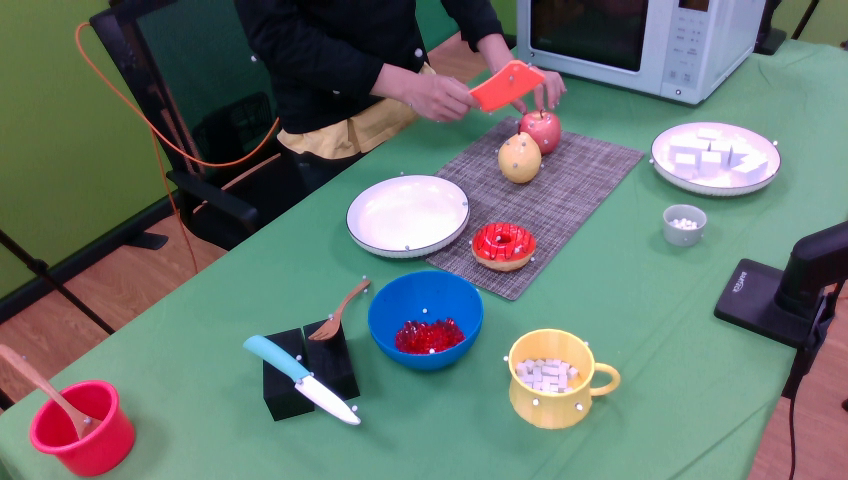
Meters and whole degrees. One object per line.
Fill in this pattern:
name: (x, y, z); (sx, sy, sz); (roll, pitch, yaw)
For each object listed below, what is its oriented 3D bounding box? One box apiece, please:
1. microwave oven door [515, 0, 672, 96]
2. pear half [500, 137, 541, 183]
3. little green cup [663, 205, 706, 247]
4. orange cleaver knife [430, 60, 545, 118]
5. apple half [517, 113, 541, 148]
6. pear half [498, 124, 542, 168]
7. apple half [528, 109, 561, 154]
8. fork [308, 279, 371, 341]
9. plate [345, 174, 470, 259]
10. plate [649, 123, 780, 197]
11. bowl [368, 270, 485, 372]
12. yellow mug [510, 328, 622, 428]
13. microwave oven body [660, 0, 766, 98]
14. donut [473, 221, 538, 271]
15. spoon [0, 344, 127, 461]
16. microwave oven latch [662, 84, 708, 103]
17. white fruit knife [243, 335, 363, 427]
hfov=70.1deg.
microwave oven door: (0.343, -0.455, 1.259); (0.353, 0.245, 0.039); (26, 51, 33)
pear half: (0.169, -0.133, 1.048); (0.070, 0.088, 0.031); (-3, 40, -1)
little green cup: (0.396, -0.021, 0.926); (0.061, 0.039, 0.061); (-4, 40, 4)
orange cleaver knife: (0.104, -0.244, 1.028); (0.210, 0.078, 0.012); (-19, 52, 39)
apple half: (0.191, -0.194, 1.127); (0.033, 0.081, 0.080); (-10, 40, -8)
pear half: (0.169, -0.163, 1.068); (0.076, 0.110, 0.055); (-3, 41, 0)
apple half: (0.229, -0.204, 1.133); (0.053, 0.075, 0.080); (-12, 34, -7)
fork: (-0.109, 0.093, 0.832); (0.028, 0.018, 0.207); (-4, 19, 15)
plate: (-0.026, -0.037, 1.004); (0.209, 0.038, 0.208); (-4, 40, 4)
plate: (0.497, -0.135, 1.046); (0.207, 0.039, 0.206); (-4, 40, 4)
bowl: (0.007, 0.118, 0.791); (0.151, 0.077, 0.150); (-5, 40, 4)
yellow mug: (0.169, 0.164, 0.722); (0.130, 0.064, 0.099); (0, 40, 8)
microwave oven body: (0.472, -0.513, 1.317); (0.438, 0.261, 0.327); (26, 51, 34)
donut: (0.123, 0.008, 0.923); (0.099, 0.048, 0.098); (-3, 38, 3)
spoon: (-0.433, 0.191, 0.721); (0.194, 0.021, 0.042); (47, 53, -6)
microwave oven latch: (0.517, -0.296, 1.204); (0.078, 0.029, 0.030); (27, 52, 35)
white fruit knife: (-0.148, 0.167, 0.729); (0.206, 0.016, 0.027); (27, 80, 31)
